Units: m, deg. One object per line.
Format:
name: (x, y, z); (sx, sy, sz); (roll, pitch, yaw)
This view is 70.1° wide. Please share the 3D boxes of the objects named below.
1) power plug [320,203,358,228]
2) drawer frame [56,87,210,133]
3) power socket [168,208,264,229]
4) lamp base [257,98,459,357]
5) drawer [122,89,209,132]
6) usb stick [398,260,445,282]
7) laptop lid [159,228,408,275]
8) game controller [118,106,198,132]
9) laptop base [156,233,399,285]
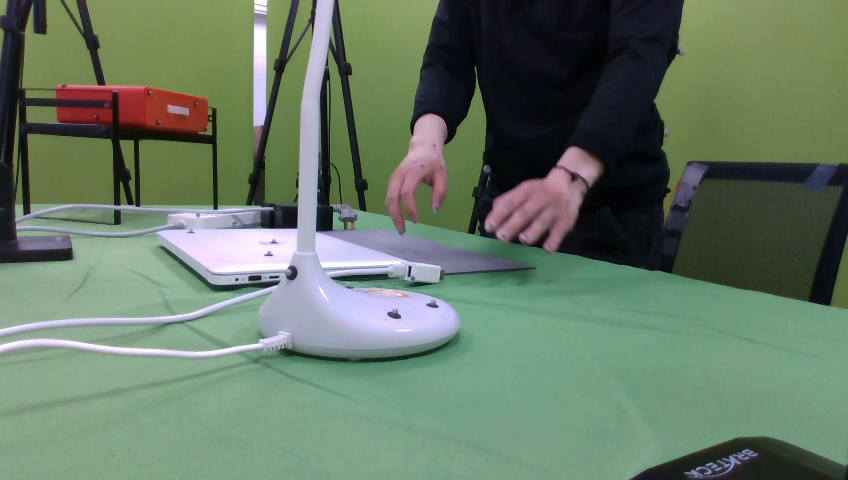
power plug: (-0.169, -0.047, 1.209); (0.073, 0.052, 0.035); (-5, -15, -6)
drawer frame: (-0.598, -0.269, 1.261); (0.213, 0.082, 0.202); (4, 8, 14)
power socket: (-0.381, -0.038, 1.128); (0.072, 0.032, 0.227); (4, 8, 16)
lamp base: (-0.055, -0.014, 0.463); (0.160, 0.180, 0.180); (6, 11, 27)
drawer: (-0.595, -0.268, 1.263); (0.211, 0.073, 0.195); (4, 8, 15)
usb stick: (0.000, 0.036, 0.696); (0.027, 0.021, 0.059); (7, -1, 43)
laptop lid: (-0.201, 0.007, 0.806); (0.243, 0.013, 0.355); (-1, 8, -31)
game controller: (-0.555, -0.252, 1.255); (0.097, 0.051, 0.155); (7, 11, 18)
laptop base: (-0.204, 0.019, 0.807); (0.237, 0.023, 0.352); (0, 7, -33)
